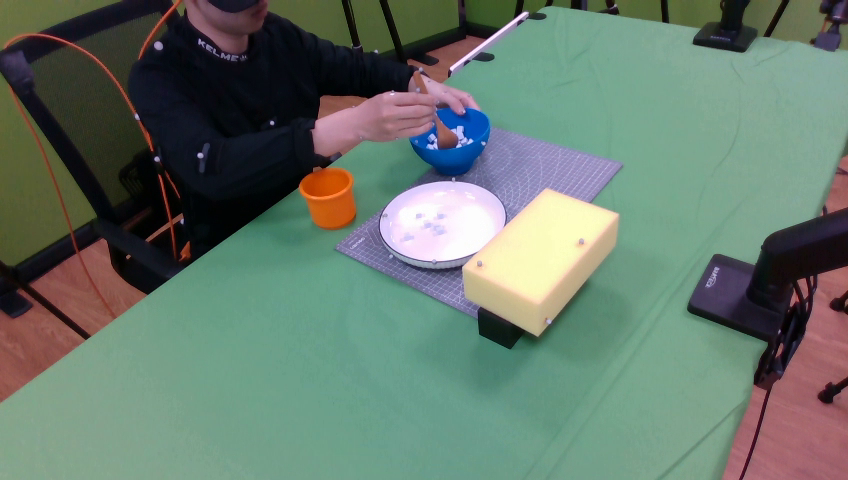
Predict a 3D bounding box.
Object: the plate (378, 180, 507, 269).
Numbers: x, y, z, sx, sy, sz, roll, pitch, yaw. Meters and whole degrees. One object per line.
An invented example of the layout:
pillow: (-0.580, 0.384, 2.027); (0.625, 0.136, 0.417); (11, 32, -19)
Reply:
plate: (0.031, -0.022, 0.974); (0.209, 0.038, 0.208); (-4, 40, 4)

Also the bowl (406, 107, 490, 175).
bowl: (0.050, -0.171, 1.102); (0.151, 0.077, 0.150); (-7, 40, 7)

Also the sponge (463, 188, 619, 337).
sponge: (0.160, 0.022, 0.814); (0.117, 0.061, 0.207); (24, 50, 32)

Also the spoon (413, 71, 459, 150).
spoon: (0.016, -0.207, 0.997); (0.041, 0.195, 0.021); (-30, 51, 4)
